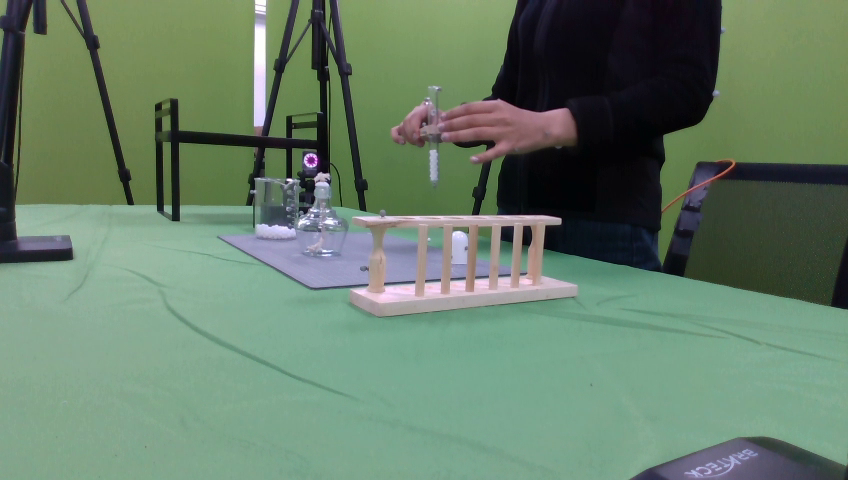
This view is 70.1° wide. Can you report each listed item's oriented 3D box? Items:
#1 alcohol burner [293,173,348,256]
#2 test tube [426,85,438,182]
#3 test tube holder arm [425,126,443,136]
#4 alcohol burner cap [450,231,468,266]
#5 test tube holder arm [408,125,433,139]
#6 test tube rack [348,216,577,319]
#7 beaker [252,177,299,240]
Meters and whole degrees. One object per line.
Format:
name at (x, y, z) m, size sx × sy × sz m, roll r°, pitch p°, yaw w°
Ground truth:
alcohol burner at (-0.146, -0.036, 0.859) m, size 0.078 × 0.119 × 0.078 m, roll 4°, pitch 8°, yaw 0°
test tube at (0.012, -0.165, 0.946) m, size 0.017 × 0.150 × 0.017 m, roll -1°, pitch 8°, yaw 1°
test tube holder arm at (0.010, -0.174, 0.967) m, size 0.010 × 0.015 × 0.087 m, roll 1°, pitch 6°, yaw -20°
alcohol burner cap at (0.046, 0.011, 0.838) m, size 0.034 × 0.048 × 0.034 m, roll 2°, pitch 6°, yaw 0°
test tube holder arm at (-0.007, -0.179, 1.009) m, size 0.013 × 0.015 × 0.178 m, roll 2°, pitch 6°, yaw -13°
test tube rack at (0.048, 0.021, 0.619) m, size 0.244 × 0.085 × 0.066 m, roll -2°, pitch 9°, yaw -31°
beaker at (-0.245, -0.052, 1.005) m, size 0.074 × 0.100 × 0.083 m, roll -2°, pitch 10°, yaw -32°
